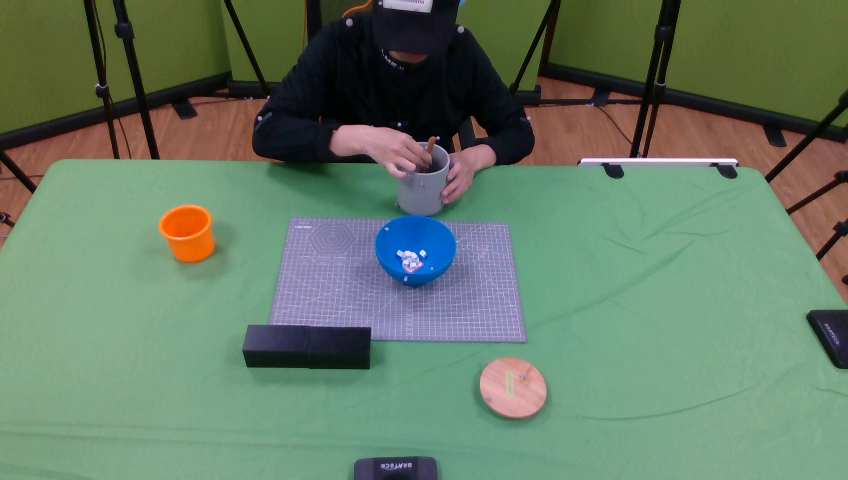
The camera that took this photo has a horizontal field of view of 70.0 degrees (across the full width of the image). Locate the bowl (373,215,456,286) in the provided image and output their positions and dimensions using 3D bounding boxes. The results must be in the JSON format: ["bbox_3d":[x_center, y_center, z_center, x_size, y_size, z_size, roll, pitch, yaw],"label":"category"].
[{"bbox_3d":[-0.019,0.032,1.122,0.151,0.077,0.150,2,46,-2],"label":"bowl"}]

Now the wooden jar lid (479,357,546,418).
[{"bbox_3d":[0.142,0.240,0.979,0.108,0.021,0.107,1,46,-1],"label":"wooden jar lid"}]

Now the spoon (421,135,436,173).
[{"bbox_3d":[0.000,-0.145,1.215,0.041,0.194,0.021,14,53,-1],"label":"spoon"}]

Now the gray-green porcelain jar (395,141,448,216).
[{"bbox_3d":[-0.007,-0.120,1.241,0.106,0.127,0.105,2,46,-2],"label":"gray-green porcelain jar"}]
